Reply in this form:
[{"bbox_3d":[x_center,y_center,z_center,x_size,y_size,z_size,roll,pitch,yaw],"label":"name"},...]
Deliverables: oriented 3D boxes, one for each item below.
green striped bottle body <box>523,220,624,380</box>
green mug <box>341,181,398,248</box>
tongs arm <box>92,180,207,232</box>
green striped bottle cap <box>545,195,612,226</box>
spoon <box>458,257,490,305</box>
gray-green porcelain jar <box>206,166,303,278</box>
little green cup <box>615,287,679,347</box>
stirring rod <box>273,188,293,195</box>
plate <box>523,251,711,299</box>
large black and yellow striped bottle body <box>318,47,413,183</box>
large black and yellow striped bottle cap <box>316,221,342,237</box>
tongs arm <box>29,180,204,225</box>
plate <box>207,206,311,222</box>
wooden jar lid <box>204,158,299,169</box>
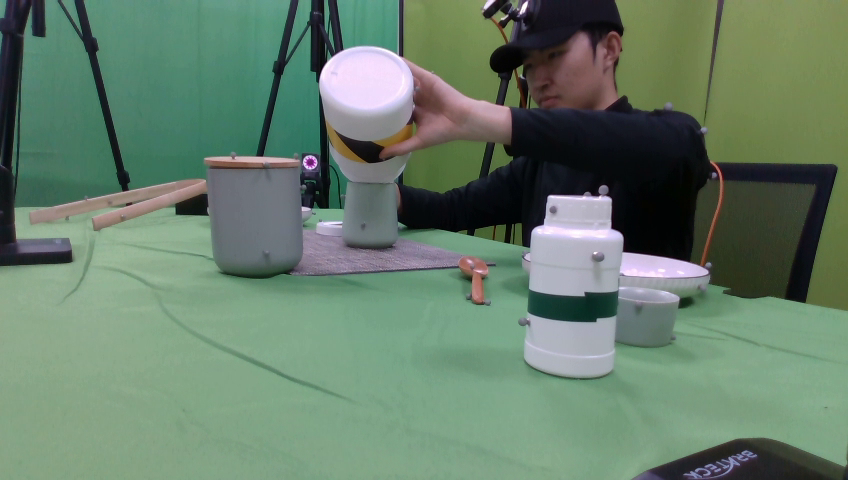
[{"bbox_3d":[0.104,0.031,0.422,0.063,0.119,0.063,2,8,0],"label":"green striped bottle body"},{"bbox_3d":[-0.090,-0.044,0.997,0.093,0.105,0.125,1,8,-10],"label":"green mug"},{"bbox_3d":[-0.534,-0.076,1.221,0.028,0.028,0.388,-2,15,12],"label":"tongs arm"},{"bbox_3d":[0.106,-0.020,0.414,0.044,0.020,0.044,2,4,0],"label":"green striped bottle cap"},{"bbox_3d":[0.059,0.044,0.695,0.041,0.021,0.194,17,7,1],"label":"spoon"},{"bbox_3d":[-0.201,-0.024,0.724,0.106,0.126,0.106,-1,9,1],"label":"gray-green porcelain jar"},{"bbox_3d":[0.180,0.064,0.506,0.061,0.038,0.061,2,8,0],"label":"little green cup"},{"bbox_3d":[-0.353,-0.122,1.518,0.006,0.014,0.176,1,7,2],"label":"stirring rod"},{"bbox_3d":[0.219,0.041,0.706,0.209,0.038,0.209,2,7,0],"label":"plate"},{"bbox_3d":[-0.082,-0.175,0.898,0.131,0.130,0.184,2,-31,0],"label":"large black and yellow striped bottle body"},{"bbox_3d":[-0.147,-0.021,1.147,0.115,0.019,0.115,2,9,0],"label":"large black and yellow striped bottle cap"},{"bbox_3d":[-0.609,-0.083,1.245,0.050,0.026,0.386,5,16,23],"label":"tongs arm"},{"bbox_3d":[-0.342,-0.050,1.259,0.208,0.039,0.207,2,7,0],"label":"plate"},{"bbox_3d":[-0.202,-0.086,0.714,0.108,0.020,0.108,3,11,0],"label":"wooden jar lid"}]
